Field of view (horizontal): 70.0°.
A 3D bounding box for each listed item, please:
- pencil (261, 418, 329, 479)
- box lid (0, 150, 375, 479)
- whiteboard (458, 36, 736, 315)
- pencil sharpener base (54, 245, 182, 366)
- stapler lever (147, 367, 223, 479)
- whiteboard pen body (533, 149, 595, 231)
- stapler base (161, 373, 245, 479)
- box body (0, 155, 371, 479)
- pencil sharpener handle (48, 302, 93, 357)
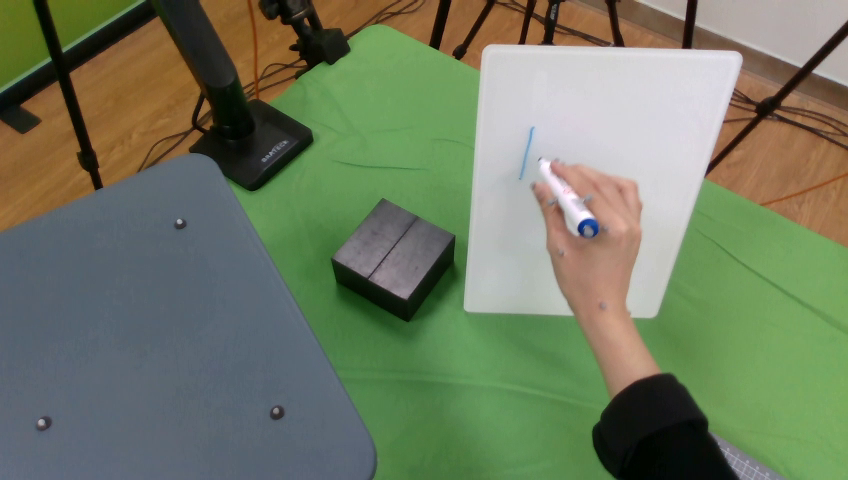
[{"bbox_3d":[-0.159,0.235,0.559,0.012,0.012,0.194,34,52,20],"label":"pencil"},{"bbox_3d":[-0.233,0.091,0.482,0.263,0.015,0.368,-28,62,-18],"label":"box lid"},{"bbox_3d":[0.151,-0.082,0.641,0.217,0.308,0.142,2,37,1],"label":"whiteboard"},{"bbox_3d":[-0.305,0.069,0.609,0.076,0.108,0.061,-35,63,-20],"label":"pencil sharpener base"},{"bbox_3d":[-0.224,0.174,0.561,0.026,0.040,0.117,4,57,25],"label":"stapler lever"},{"bbox_3d":[0.107,-0.046,0.488,0.017,0.017,0.139,-5,31,-4],"label":"whiteboard pen body"},{"bbox_3d":[-0.217,0.186,0.580,0.041,0.025,0.129,4,59,24],"label":"stapler base"},{"bbox_3d":[-0.232,0.132,0.544,0.254,0.162,0.360,-28,62,-17],"label":"box body"},{"bbox_3d":[-0.345,0.090,0.581,0.030,0.068,0.035,-35,63,-20],"label":"pencil sharpener handle"}]
